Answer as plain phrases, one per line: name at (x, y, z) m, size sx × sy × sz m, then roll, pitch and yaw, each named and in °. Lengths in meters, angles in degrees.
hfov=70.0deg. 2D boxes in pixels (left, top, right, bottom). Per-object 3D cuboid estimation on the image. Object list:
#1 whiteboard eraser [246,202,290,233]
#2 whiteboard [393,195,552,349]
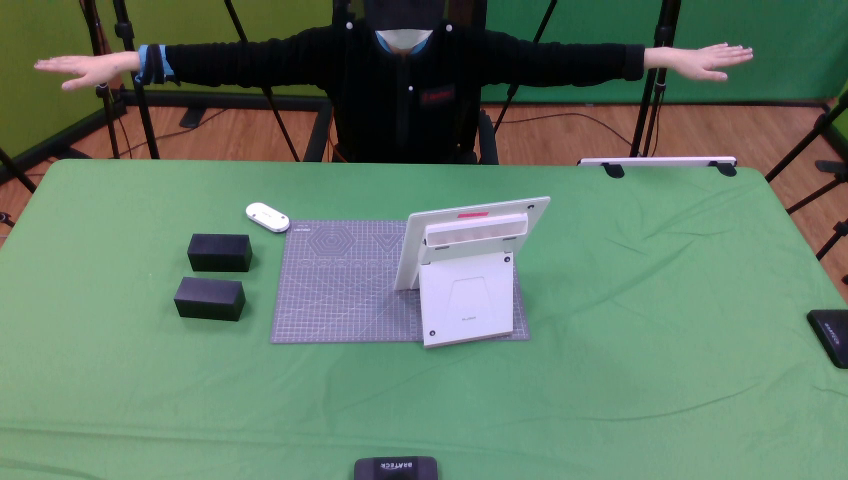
whiteboard eraser at (-0.314, -0.047, 1.218) m, size 0.101 × 0.019 × 0.041 m, roll 28°, pitch 51°, yaw 22°
whiteboard at (0.077, 0.071, 0.977) m, size 0.217 × 0.306 × 0.143 m, roll -7°, pitch 66°, yaw -11°
